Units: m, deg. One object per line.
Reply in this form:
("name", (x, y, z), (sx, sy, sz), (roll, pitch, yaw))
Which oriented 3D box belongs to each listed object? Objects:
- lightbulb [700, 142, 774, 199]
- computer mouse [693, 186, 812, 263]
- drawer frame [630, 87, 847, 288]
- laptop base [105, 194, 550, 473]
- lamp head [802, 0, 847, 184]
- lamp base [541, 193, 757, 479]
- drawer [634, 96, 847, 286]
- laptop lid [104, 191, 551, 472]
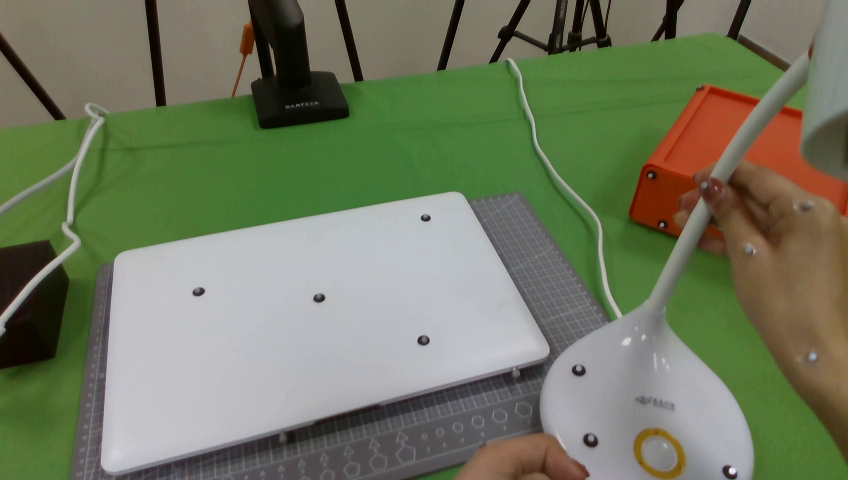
("lightbulb", (0.355, -0.074, 0.681), (0.059, 0.060, 0.107), (-3, 25, -4))
("computer mouse", (0.340, -0.019, 0.627), (0.116, 0.041, 0.062), (22, 45, 15))
("drawer frame", (0.362, -0.071, 0.664), (0.200, 0.083, 0.213), (23, 45, 23))
("laptop base", (-0.092, 0.062, 0.552), (0.355, 0.023, 0.232), (-11, 46, -14))
("lamp head", (0.174, -0.079, 0.174), (0.112, 0.113, 0.122), (7, 77, 7))
("lamp base", (0.175, 0.070, 0.422), (0.161, 0.181, 0.177), (4, 38, -3))
("drawer", (0.362, -0.067, 0.663), (0.193, 0.074, 0.211), (23, 45, 24))
("laptop lid", (-0.091, 0.055, 0.542), (0.357, 0.013, 0.239), (-10, 45, -12))
